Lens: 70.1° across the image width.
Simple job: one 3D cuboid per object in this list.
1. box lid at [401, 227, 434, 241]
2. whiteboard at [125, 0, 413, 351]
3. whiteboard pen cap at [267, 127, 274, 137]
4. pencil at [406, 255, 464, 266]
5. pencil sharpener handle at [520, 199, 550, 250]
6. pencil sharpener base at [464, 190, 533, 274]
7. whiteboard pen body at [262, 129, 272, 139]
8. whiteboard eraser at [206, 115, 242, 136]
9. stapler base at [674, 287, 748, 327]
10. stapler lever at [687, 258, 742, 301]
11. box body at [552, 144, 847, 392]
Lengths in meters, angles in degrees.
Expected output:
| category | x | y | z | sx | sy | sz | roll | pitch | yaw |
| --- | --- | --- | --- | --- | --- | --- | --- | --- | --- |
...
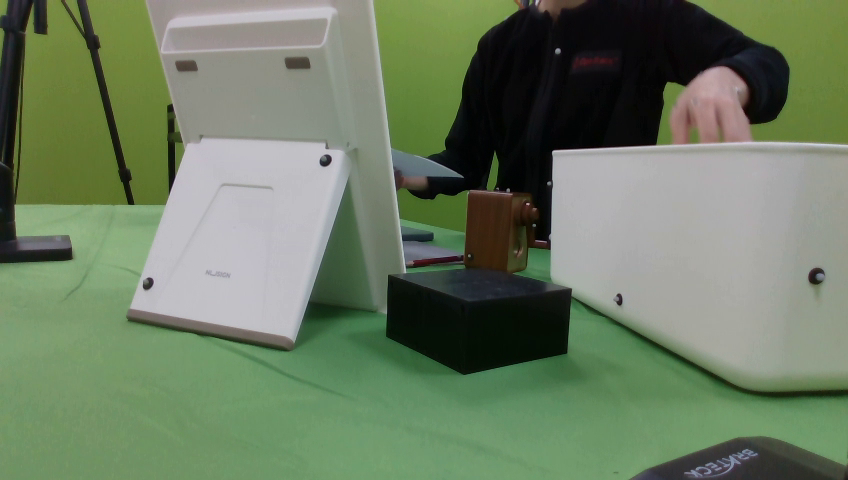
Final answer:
| category | x | y | z | sx | sy | sz | roll | pitch | yaw |
| --- | --- | --- | --- | --- | --- | --- | --- | --- | --- |
| box lid | -0.196 | -0.015 | 1.105 | 0.373 | 0.015 | 0.262 | -1 | 7 | -32 |
| whiteboard | -0.151 | -0.050 | 0.471 | 0.216 | 0.305 | 0.144 | 6 | 27 | 24 |
| whiteboard pen cap | -0.340 | -0.239 | 1.337 | 0.018 | 0.018 | 0.033 | 1 | -1 | -14 |
| pencil | 0.042 | 0.026 | 0.849 | 0.012 | 0.012 | 0.195 | 10 | 9 | 44 |
| pencil sharpener handle | 0.147 | -0.019 | 0.785 | 0.030 | 0.068 | 0.036 | 8 | 26 | 36 |
| pencil sharpener base | 0.103 | -0.012 | 0.813 | 0.076 | 0.107 | 0.061 | 8 | 9 | 36 |
| whiteboard pen body | -0.361 | -0.245 | 1.393 | 0.017 | 0.017 | 0.140 | 0 | 5 | -20 |
| whiteboard eraser | -0.438 | -0.249 | 1.320 | 0.056 | 0.042 | 0.112 | -3 | 9 | -30 |
| stapler base | 0.281 | 0.061 | 0.586 | 0.041 | 0.024 | 0.131 | 10 | 8 | 37 |
| stapler lever | 0.283 | 0.035 | 0.585 | 0.026 | 0.040 | 0.119 | 11 | 8 | 37 |
| box body | 0.290 | 0.002 | 0.549 | 0.255 | 0.160 | 0.363 | 2 | 7 | -10 |
